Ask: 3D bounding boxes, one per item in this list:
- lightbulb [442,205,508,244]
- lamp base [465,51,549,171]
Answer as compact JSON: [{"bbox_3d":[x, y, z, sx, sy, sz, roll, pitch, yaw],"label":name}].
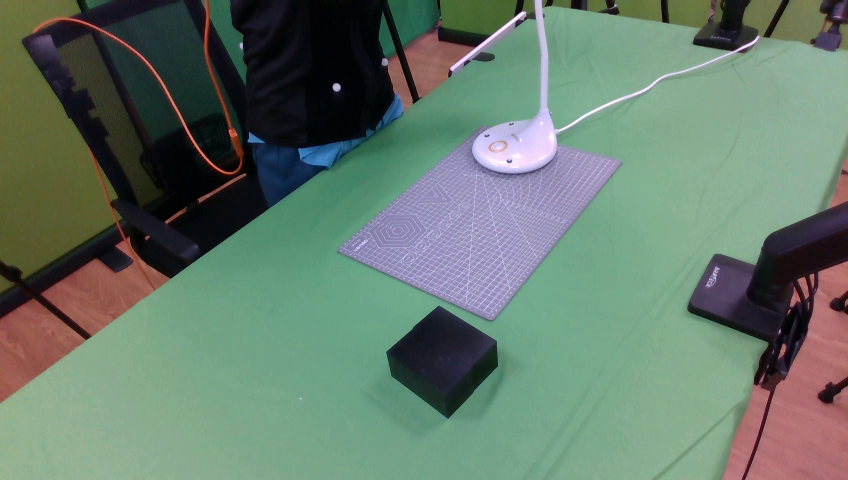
[{"bbox_3d":[0.080,-0.019,0.955,0.107,0.059,0.059,18,44,5],"label":"lightbulb"},{"bbox_3d":[0.159,-0.243,1.103,0.180,0.181,0.159,-31,46,-29],"label":"lamp base"}]
